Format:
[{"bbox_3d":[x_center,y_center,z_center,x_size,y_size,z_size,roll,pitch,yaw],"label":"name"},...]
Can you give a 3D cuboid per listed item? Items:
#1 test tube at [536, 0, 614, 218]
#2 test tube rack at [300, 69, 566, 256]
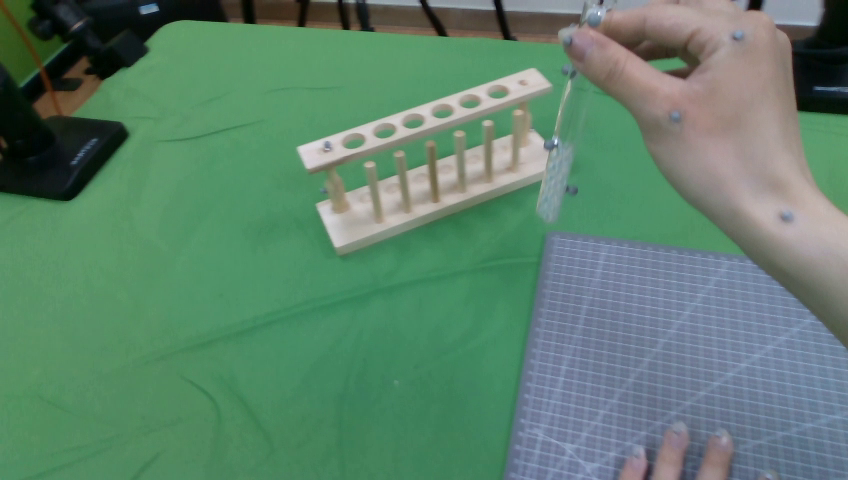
[{"bbox_3d":[0.083,-0.068,0.347,0.017,0.152,0.017,1,47,-1],"label":"test tube"},{"bbox_3d":[0.016,-0.076,0.577,0.242,0.086,0.066,-21,50,-11],"label":"test tube rack"}]
